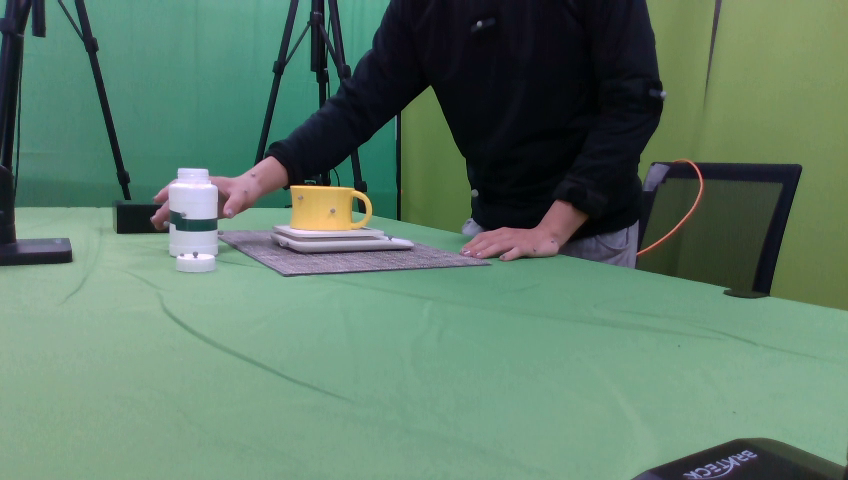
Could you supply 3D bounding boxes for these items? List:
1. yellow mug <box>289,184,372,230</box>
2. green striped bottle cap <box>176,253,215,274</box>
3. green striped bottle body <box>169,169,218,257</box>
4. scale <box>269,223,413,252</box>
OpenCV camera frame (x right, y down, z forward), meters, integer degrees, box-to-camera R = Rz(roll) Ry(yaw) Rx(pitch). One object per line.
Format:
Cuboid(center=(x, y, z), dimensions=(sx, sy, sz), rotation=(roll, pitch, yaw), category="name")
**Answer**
Cuboid(center=(-0.145, -0.052, 0.944), dimensions=(0.131, 0.064, 0.100), rotation=(4, 7, 9), category="yellow mug")
Cuboid(center=(-0.279, 0.029, 0.741), dimensions=(0.044, 0.020, 0.044), rotation=(5, 4, 0), category="green striped bottle cap")
Cuboid(center=(-0.318, -0.038, 0.836), dimensions=(0.063, 0.119, 0.063), rotation=(2, 8, 0), category="green striped bottle body")
Cuboid(center=(-0.132, -0.007, 0.965), dimensions=(0.202, 0.031, 0.148), rotation=(-2, 8, -31), category="scale")
